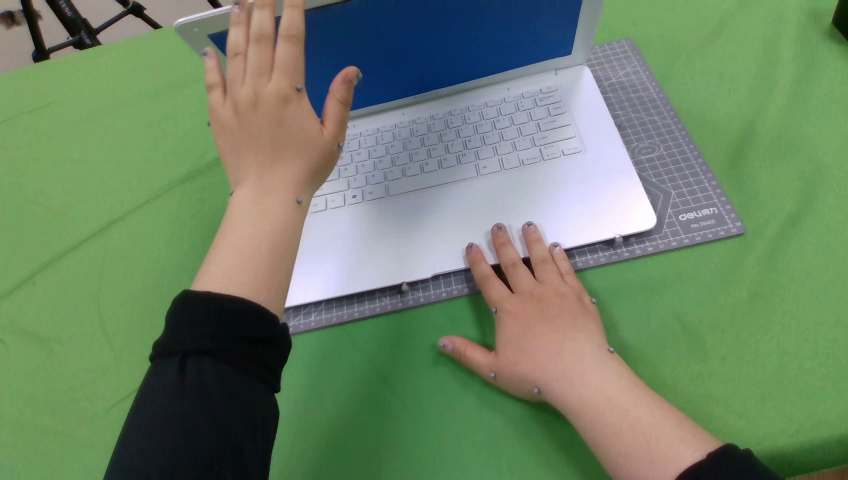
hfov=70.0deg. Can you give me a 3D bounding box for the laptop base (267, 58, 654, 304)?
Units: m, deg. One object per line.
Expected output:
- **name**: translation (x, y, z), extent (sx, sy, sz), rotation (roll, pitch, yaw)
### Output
- **laptop base**: translation (0.017, -0.066, 0.606), extent (0.354, 0.023, 0.233), rotation (-12, 54, 5)

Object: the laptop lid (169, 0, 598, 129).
- **laptop lid**: translation (-0.014, -0.183, 0.560), extent (0.356, 0.243, 0.013), rotation (-13, 78, 6)
